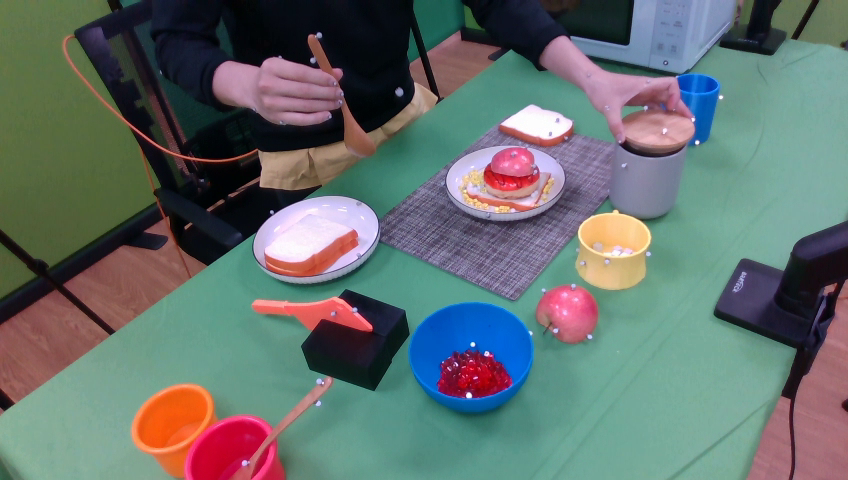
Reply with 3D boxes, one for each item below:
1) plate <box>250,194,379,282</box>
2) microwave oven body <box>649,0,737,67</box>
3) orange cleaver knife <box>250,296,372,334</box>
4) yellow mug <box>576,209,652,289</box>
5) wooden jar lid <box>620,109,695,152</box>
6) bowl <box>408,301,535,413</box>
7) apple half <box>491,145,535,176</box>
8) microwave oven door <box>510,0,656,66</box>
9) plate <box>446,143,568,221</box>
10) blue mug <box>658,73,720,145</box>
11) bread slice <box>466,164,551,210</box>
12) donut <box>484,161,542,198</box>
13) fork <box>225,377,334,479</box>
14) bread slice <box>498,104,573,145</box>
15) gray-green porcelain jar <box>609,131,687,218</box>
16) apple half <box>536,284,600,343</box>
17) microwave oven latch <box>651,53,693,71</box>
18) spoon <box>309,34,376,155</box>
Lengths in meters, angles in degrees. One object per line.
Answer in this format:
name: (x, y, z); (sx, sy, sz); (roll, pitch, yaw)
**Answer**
plate: (-0.174, -0.001, 0.984); (0.209, 0.038, 0.208); (-3, 40, 3)
microwave oven body: (0.475, -0.602, 1.411); (0.438, 0.261, 0.327); (23, 50, 32)
orange cleaver knife: (-0.159, 0.103, 0.828); (0.210, 0.078, 0.012); (-4, 43, 39)
yellow mug: (0.279, 0.004, 0.893); (0.099, 0.064, 0.130); (6, 42, 14)
wooden jar lid: (0.353, -0.166, 0.921); (0.108, 0.021, 0.108); (-3, 39, 3)
bowl: (0.060, 0.156, 0.739); (0.151, 0.077, 0.150); (-4, 40, 4)
apple half: (0.147, -0.138, 0.994); (0.081, 0.033, 0.081); (0, 37, 0)
microwave oven door: (0.350, -0.539, 1.348); (0.353, 0.245, 0.039); (24, 50, 31)
plate: (0.142, -0.097, 1.045); (0.207, 0.039, 0.206); (-4, 41, 4)
blue mug: (0.483, -0.250, 1.127); (0.082, 0.106, 0.115); (-26, 44, -19)
bread slice: (0.141, -0.093, 1.042); (0.133, 0.018, 0.107); (10, 43, 19)
donut: (0.149, -0.110, 1.016); (0.099, 0.048, 0.098); (-4, 41, 4)
fork: (-0.163, 0.216, 0.647); (0.207, 0.019, 0.028); (-49, 42, 16)
bread slice: (0.231, -0.231, 1.205); (0.105, 0.019, 0.130); (-36, 47, -29)
gray-green porcelain jar: (0.353, -0.106, 0.964); (0.106, 0.127, 0.105); (-4, 41, 4)
apple half: (0.196, 0.091, 0.815); (0.075, 0.053, 0.080); (-22, 42, -20)
microwave oven latch: (0.532, -0.386, 1.301); (0.078, 0.029, 0.030); (27, 52, 34)
spoon: (-0.106, -0.177, 0.764); (0.041, 0.195, 0.021); (-6, 48, 15)
